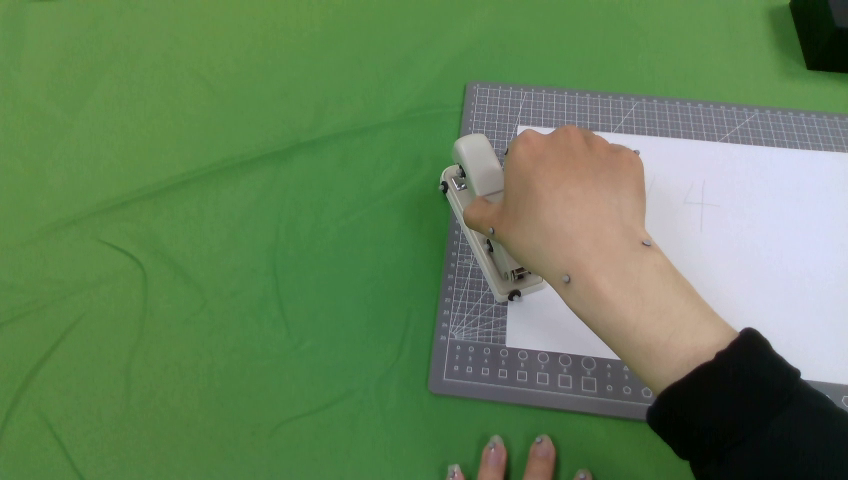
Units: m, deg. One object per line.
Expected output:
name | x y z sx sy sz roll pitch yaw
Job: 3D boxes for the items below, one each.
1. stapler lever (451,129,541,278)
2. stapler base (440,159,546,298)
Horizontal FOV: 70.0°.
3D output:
stapler lever | 0.051 -0.031 0.444 0.027 0.040 0.117 -19 63 -8
stapler base | 0.051 -0.019 0.467 0.041 0.024 0.129 -19 62 -8
